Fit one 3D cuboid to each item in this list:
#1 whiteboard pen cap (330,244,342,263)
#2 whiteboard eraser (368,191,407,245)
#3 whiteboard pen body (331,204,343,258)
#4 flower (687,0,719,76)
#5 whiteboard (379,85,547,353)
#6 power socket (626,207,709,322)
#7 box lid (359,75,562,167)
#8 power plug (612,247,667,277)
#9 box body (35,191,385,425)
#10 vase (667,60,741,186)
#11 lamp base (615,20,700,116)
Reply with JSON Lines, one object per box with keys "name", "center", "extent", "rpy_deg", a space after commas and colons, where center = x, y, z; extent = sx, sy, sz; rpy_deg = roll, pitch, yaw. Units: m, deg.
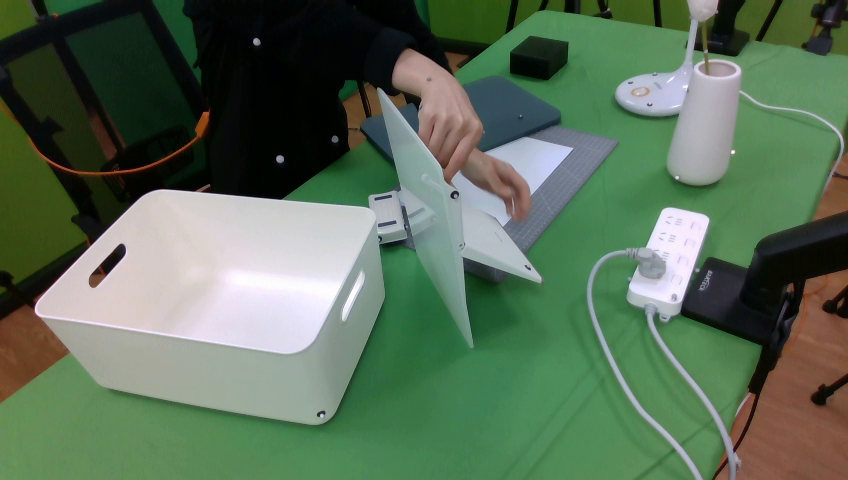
{"name": "whiteboard pen cap", "center": [-0.142, 0.021, 0.975], "extent": [0.018, 0.018, 0.033], "rpy_deg": [-7, 39, 0]}
{"name": "whiteboard eraser", "center": [-0.061, -0.035, 1.006], "extent": [0.056, 0.042, 0.112], "rpy_deg": [-9, 40, -3]}
{"name": "whiteboard pen body", "center": [-0.146, -0.016, 1.020], "extent": [0.017, 0.017, 0.140], "rpy_deg": [-7, 40, 0]}
{"name": "flower", "center": [0.436, -0.242, 0.934], "extent": [0.038, 0.364, 0.043], "rpy_deg": [-24, 49, 8]}
{"name": "whiteboard", "center": [0.062, -0.043, 0.798], "extent": [0.144, 0.307, 0.215], "rpy_deg": [-19, 41, -10]}
{"name": "power socket", "center": [0.360, 0.026, 0.886], "extent": [0.072, 0.033, 0.227], "rpy_deg": [17, 46, 26]}
{"name": "box lid", "center": [0.074, -0.249, 1.266], "extent": [0.373, 0.015, 0.261], "rpy_deg": [-23, 42, -18]}
{"name": "power plug", "center": [0.306, 0.031, 0.852], "extent": [0.072, 0.053, 0.035], "rpy_deg": [21, 48, 37]}
{"name": "box body", "center": [-0.254, 0.082, 0.807], "extent": [0.363, 0.161, 0.253], "rpy_deg": [5, 42, 14]}
{"name": "vase", "center": [0.463, -0.189, 0.994], "extent": [0.098, 0.201, 0.097], "rpy_deg": [-4, 40, 4]}
{"name": "lamp base", "center": [0.484, -0.364, 1.211], "extent": [0.180, 0.181, 0.159], "rpy_deg": [-15, 41, -14]}
